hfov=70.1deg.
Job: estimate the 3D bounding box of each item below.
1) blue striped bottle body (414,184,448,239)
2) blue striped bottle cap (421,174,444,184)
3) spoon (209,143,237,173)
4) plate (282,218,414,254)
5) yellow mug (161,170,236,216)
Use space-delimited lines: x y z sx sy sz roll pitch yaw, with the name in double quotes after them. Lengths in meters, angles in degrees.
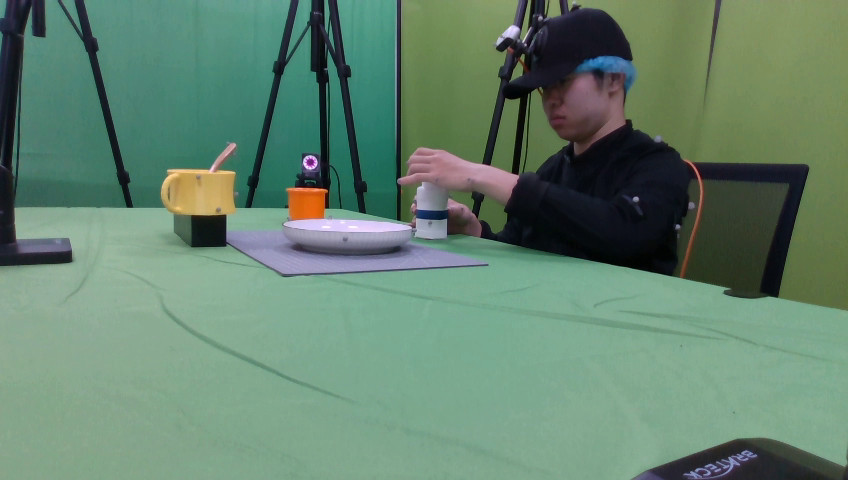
0.014 -0.065 1.166 0.063 0.120 0.063 2 8 0 "blue striped bottle body"
0.016 -0.116 1.159 0.044 0.020 0.044 2 3 0 "blue striped bottle cap"
-0.341 -0.113 0.990 0.041 0.021 0.193 1 39 6 "spoon"
-0.121 -0.007 0.971 0.208 0.039 0.207 2 7 0 "plate"
-0.354 -0.074 0.935 0.099 0.064 0.131 5 9 21 "yellow mug"
